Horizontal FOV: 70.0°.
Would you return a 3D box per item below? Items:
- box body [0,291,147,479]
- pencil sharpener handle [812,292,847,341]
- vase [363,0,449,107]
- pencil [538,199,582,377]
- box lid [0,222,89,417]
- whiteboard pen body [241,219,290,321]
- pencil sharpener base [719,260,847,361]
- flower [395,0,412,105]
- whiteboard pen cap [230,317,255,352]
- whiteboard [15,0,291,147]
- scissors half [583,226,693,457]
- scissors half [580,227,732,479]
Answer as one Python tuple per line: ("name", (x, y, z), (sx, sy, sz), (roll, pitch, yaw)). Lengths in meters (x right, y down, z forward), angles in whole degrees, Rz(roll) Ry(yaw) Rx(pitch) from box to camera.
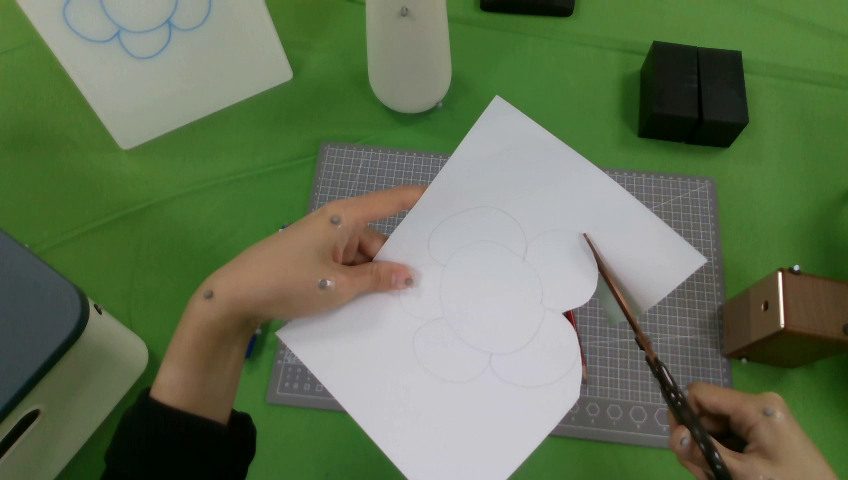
("box body", (-0.471, 0.081, 0.532), (0.362, 0.161, 0.253), (31, 71, 12))
("pencil sharpener handle", (0.388, 0.075, 0.555), (0.030, 0.068, 0.035), (10, 61, 1))
("vase", (-0.022, -0.232, 0.644), (0.098, 0.201, 0.097), (0, 66, 1))
("pencil", (0.142, 0.046, 0.629), (0.012, 0.012, 0.192), (-7, 69, -3))
("box lid", (-0.473, 0.051, 0.463), (0.370, 0.015, 0.262), (31, 70, 12))
("whiteboard pen body", (-0.166, 0.041, 0.626), (0.017, 0.017, 0.140), (12, 66, 6))
("pencil sharpener base", (0.337, 0.069, 0.567), (0.077, 0.107, 0.061), (10, 67, 1))
("flower", (-0.028, -0.278, 0.572), (0.044, 0.365, 0.038), (-1, 49, 3))
("whiteboard pen cap", (-0.179, 0.093, 0.603), (0.018, 0.018, 0.033), (12, 63, 5))
("whiteboard", (-0.310, -0.295, 0.644), (0.217, 0.308, 0.142), (-27, 50, -10))
("scissors half", (0.137, 0.066, 0.376), (0.013, 0.040, 0.176), (-28, 106, 11))
("scissors half", (0.135, 0.069, 0.355), (0.013, 0.040, 0.174), (-28, 83, 6))
